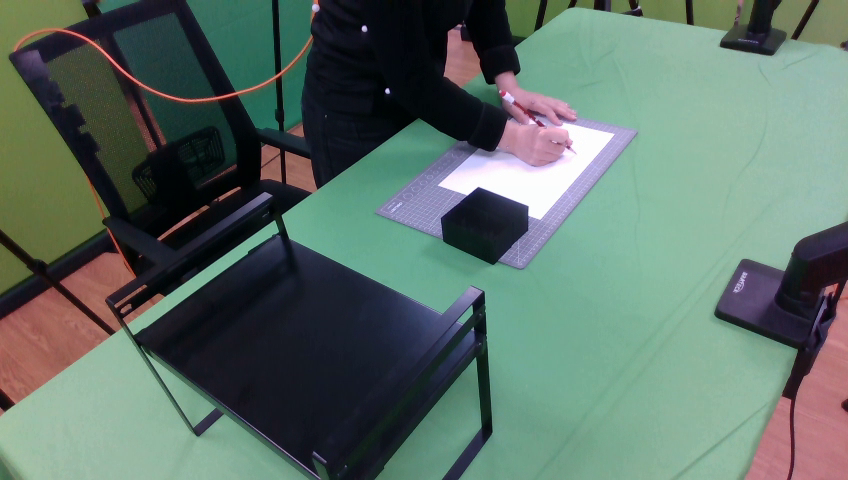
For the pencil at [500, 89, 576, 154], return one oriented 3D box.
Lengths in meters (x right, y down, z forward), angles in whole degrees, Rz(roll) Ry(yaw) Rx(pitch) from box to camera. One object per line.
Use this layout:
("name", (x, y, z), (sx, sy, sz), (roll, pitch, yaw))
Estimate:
("pencil", (0.210, -0.211, 1.095), (0.012, 0.195, 0.012), (-45, 24, 26))
